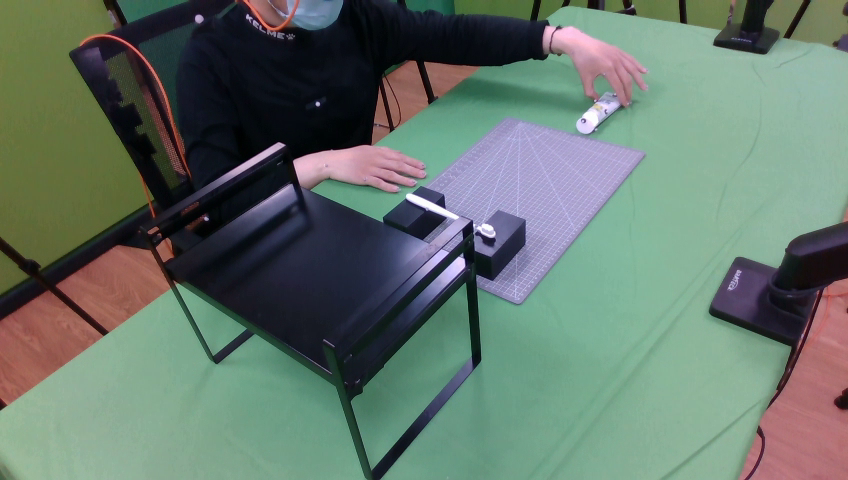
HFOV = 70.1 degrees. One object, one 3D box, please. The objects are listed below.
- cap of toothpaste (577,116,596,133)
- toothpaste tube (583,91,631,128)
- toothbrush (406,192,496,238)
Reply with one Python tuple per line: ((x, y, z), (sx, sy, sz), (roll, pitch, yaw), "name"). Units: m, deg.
((0.316, -0.225, 1.172), (0.037, 0.037, 0.011), (15, 45, 24), "cap of toothpaste")
((0.364, -0.266, 1.223), (0.054, 0.034, 0.165), (26, 46, 24), "toothpaste tube")
((0.038, -0.043, 0.937), (0.180, 0.017, 0.014), (26, 64, 35), "toothbrush")
